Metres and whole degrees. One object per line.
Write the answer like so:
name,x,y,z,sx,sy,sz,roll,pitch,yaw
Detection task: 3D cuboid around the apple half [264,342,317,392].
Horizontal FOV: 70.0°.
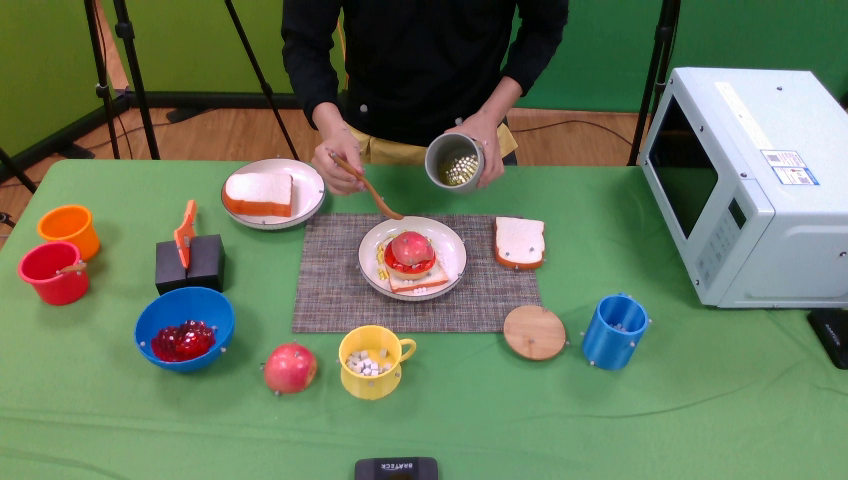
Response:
apple half,-0.214,0.198,0.970,0.074,0.053,0.080,19,48,10

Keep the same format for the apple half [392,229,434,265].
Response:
apple half,-0.021,0.004,1.083,0.081,0.033,0.081,7,48,-8

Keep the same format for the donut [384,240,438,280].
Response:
donut,-0.025,0.030,1.110,0.099,0.048,0.098,2,46,-2

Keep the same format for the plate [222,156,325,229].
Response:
plate,-0.308,-0.095,1.251,0.209,0.038,0.208,2,47,-2

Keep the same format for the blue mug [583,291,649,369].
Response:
blue mug,0.324,0.142,1.023,0.082,0.106,0.116,15,47,11

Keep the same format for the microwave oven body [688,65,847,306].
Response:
microwave oven body,0.669,-0.111,1.176,0.326,0.261,0.439,0,46,-3

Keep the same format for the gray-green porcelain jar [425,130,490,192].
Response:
gray-green porcelain jar,0.068,-0.148,1.166,0.105,0.106,0.127,20,5,14

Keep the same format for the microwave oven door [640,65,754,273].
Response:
microwave oven door,0.523,-0.147,1.193,0.039,0.245,0.353,0,47,-3

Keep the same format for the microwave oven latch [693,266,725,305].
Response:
microwave oven latch,0.523,0.082,1.115,0.030,0.029,0.078,3,46,0

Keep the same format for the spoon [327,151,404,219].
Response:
spoon,-0.093,-0.087,0.978,0.021,0.195,0.041,-50,43,-7

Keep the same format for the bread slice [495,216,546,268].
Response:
bread slice,0.194,0.002,1.204,0.105,0.019,0.131,5,45,2

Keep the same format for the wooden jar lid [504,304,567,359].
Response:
wooden jar lid,0.192,0.161,1.051,0.108,0.021,0.107,3,50,-3

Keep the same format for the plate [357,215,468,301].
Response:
plate,-0.021,0.037,1.141,0.208,0.039,0.206,2,46,-2

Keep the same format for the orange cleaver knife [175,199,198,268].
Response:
orange cleaver knife,-0.438,-0.017,1.138,0.012,0.077,0.210,-13,27,-7

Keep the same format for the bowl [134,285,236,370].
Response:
bowl,-0.377,0.155,0.981,0.151,0.077,0.150,2,46,-2

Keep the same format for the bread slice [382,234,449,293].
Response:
bread slice,-0.026,0.041,1.142,0.107,0.018,0.133,-13,51,-15

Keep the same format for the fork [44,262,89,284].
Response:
fork,-0.599,0.054,1.014,0.207,0.019,0.028,-15,29,45

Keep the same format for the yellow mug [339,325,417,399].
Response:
yellow mug,-0.072,0.190,0.978,0.131,0.064,0.099,-17,50,-20
